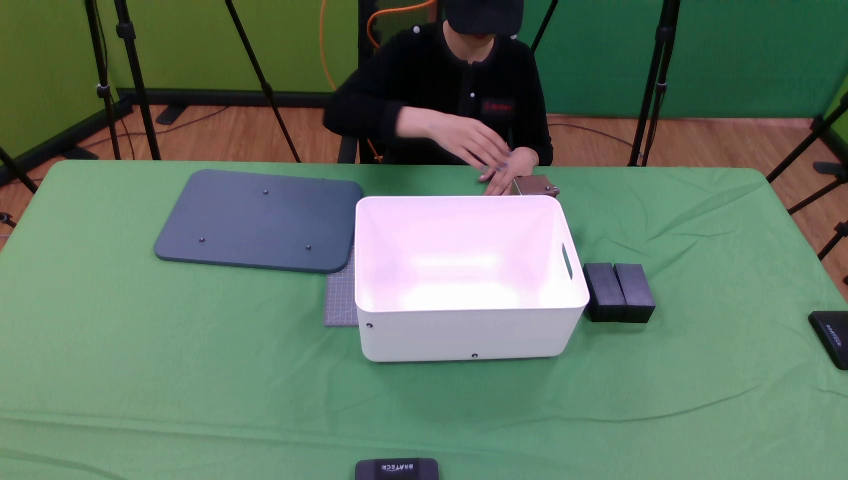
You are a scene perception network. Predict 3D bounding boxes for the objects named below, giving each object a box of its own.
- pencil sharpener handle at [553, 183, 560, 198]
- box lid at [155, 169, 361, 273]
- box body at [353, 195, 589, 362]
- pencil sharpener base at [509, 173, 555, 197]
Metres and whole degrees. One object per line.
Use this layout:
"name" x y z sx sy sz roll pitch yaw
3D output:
"pencil sharpener handle" 0.267 -0.089 1.224 0.031 0.068 0.035 -6 45 -10
"box lid" -0.321 -0.044 1.225 0.371 0.015 0.261 4 46 1
"box body" 0.065 0.066 1.040 0.364 0.161 0.252 -1 46 -5
"pencil sharpener base" 0.216 -0.075 1.224 0.077 0.107 0.061 -6 46 -10
